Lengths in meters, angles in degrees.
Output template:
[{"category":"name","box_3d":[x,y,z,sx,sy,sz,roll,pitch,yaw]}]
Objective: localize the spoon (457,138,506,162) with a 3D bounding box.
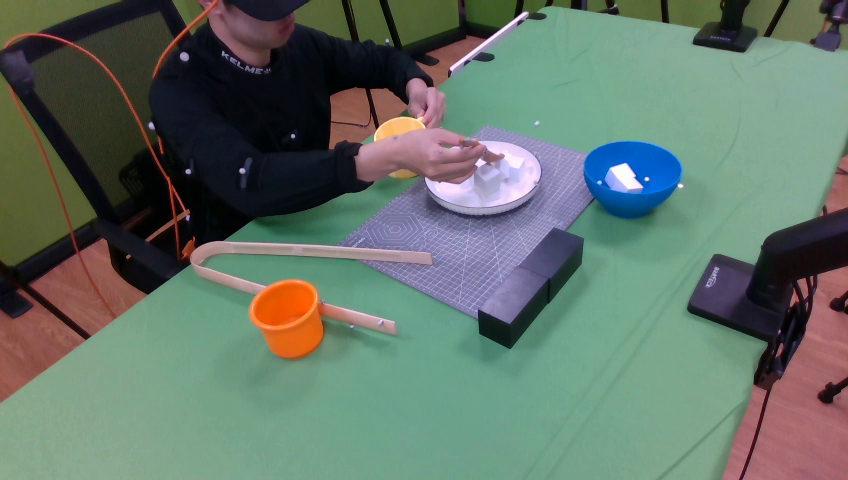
[{"category":"spoon","box_3d":[0.084,-0.139,0.923,0.041,0.021,0.195,3,-1,23]}]

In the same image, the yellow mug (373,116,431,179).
[{"category":"yellow mug","box_3d":[-0.031,-0.183,1.135,0.099,0.064,0.131,26,61,26]}]

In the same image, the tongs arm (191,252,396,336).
[{"category":"tongs arm","box_3d":[-0.204,0.075,0.902,0.382,0.026,0.051,11,43,22]}]

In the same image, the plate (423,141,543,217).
[{"category":"plate","box_3d":[0.103,-0.103,1.059,0.207,0.039,0.206,-4,40,4]}]

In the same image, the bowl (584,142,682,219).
[{"category":"bowl","box_3d":[0.333,-0.087,0.980,0.151,0.077,0.150,-4,40,3]}]

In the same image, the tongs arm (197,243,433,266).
[{"category":"tongs arm","box_3d":[-0.176,0.026,0.961,0.386,0.028,0.028,2,44,12]}]
